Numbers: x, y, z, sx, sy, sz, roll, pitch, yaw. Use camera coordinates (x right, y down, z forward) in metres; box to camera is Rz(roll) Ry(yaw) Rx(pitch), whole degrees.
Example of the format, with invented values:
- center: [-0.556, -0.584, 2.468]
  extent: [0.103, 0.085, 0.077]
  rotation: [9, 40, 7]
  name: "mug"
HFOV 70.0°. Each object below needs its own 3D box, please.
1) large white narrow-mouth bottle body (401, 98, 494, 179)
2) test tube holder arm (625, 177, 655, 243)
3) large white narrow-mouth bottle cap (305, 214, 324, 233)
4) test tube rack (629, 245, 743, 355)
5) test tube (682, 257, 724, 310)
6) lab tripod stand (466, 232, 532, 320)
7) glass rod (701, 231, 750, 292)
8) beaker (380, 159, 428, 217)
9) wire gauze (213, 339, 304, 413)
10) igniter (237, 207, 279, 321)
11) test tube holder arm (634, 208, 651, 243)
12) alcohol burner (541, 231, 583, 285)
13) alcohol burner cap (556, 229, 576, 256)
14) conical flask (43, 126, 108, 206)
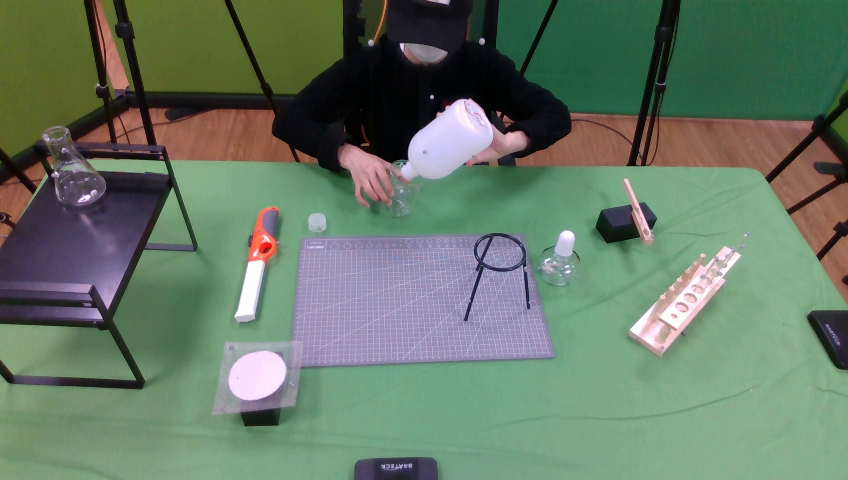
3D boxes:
- center: [0.032, -0.176, 1.153]
  extent: [0.102, 0.194, 0.101]
  rotation: [33, 39, -32]
  name: "large white narrow-mouth bottle body"
- center: [0.433, -0.063, 1.220]
  extent: [0.013, 0.015, 0.177]
  rotation: [1, 47, -3]
  name: "test tube holder arm"
- center: [-0.219, -0.033, 1.214]
  extent: [0.038, 0.024, 0.037]
  rotation: [2, 46, -2]
  name: "large white narrow-mouth bottle cap"
- center: [0.474, 0.095, 1.091]
  extent: [0.242, 0.085, 0.066]
  rotation: [-34, 56, -31]
  name: "test tube rack"
- center: [0.475, 0.080, 1.037]
  extent: [0.017, 0.151, 0.017]
  rotation: [2, 51, -2]
  name: "test tube"
- center: [0.125, 0.059, 1.065]
  extent: [0.148, 0.132, 0.147]
  rotation: [1, 45, 0]
  name: "lab tripod stand"
- center: [0.519, 0.045, 1.050]
  extent: [0.008, 0.201, 0.008]
  rotation: [0, 55, 0]
  name: "glass rod"
- center: [-0.043, -0.103, 1.232]
  extent: [0.084, 0.100, 0.073]
  rotation: [6, 48, -18]
  name: "beaker"
- center: [-0.250, 0.203, 0.924]
  extent: [0.121, 0.011, 0.124]
  rotation: [-1, 46, -3]
  name: "wire gauze"
- center: [-0.309, 0.036, 1.136]
  extent: [0.057, 0.025, 0.274]
  rotation: [-7, 45, 5]
  name: "igniter"
- center: [0.428, -0.030, 1.189]
  extent: [0.010, 0.015, 0.087]
  rotation: [1, 47, -2]
  name: "test tube holder arm"
- center: [0.258, 0.028, 1.123]
  extent: [0.078, 0.120, 0.077]
  rotation: [1, 48, -1]
  name: "alcohol burner"
- center: [0.260, 0.002, 1.098]
  extent: [0.034, 0.048, 0.033]
  rotation: [3, 40, -2]
  name: "alcohol burner cap"
- center: [-0.555, -0.119, 0.953]
  extent: [0.075, 0.122, 0.075]
  rotation: [2, 46, -2]
  name: "conical flask"
